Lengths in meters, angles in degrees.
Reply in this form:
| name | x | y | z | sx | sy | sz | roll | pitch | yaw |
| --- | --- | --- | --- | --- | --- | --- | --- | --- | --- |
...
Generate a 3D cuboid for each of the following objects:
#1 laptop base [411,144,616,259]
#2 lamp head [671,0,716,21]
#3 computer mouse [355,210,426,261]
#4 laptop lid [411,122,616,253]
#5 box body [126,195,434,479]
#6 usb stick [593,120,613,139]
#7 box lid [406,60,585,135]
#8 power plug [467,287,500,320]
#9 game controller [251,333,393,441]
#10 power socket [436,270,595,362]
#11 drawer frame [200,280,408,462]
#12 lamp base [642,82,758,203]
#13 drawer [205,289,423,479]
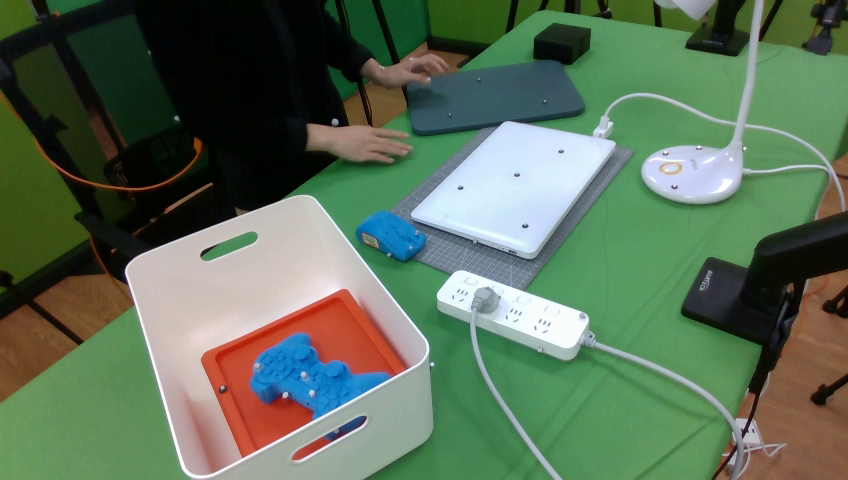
| name | x | y | z | sx | sy | sz | roll | pitch | yaw |
| --- | --- | --- | --- | --- | --- | --- | --- | --- | --- |
| laptop base | 0.168 | -0.101 | 1.073 | 0.234 | 0.023 | 0.355 | 17 | 46 | 30 |
| lamp head | 0.375 | -0.373 | 0.807 | 0.122 | 0.113 | 0.112 | -40 | 27 | 32 |
| computer mouse | -0.055 | -0.010 | 0.979 | 0.116 | 0.041 | 0.063 | 27 | 49 | 29 |
| laptop lid | 0.165 | -0.111 | 1.067 | 0.240 | 0.013 | 0.357 | 19 | 46 | 31 |
| box body | -0.175 | 0.131 | 0.737 | 0.255 | 0.161 | 0.360 | -25 | 43 | -19 |
| usb stick | 0.336 | -0.201 | 1.147 | 0.021 | 0.027 | 0.059 | 26 | 53 | 26 |
| box lid | 0.150 | -0.320 | 1.340 | 0.372 | 0.015 | 0.261 | -8 | 40 | 0 |
| power plug | 0.073 | 0.092 | 0.814 | 0.035 | 0.053 | 0.073 | 29 | 54 | 34 |
| game controller | -0.120 | 0.155 | 0.676 | 0.154 | 0.052 | 0.097 | 20 | 51 | 28 |
| power socket | 0.118 | 0.101 | 0.832 | 0.225 | 0.033 | 0.072 | 19 | 48 | 27 |
| drawer frame | -0.132 | 0.176 | 0.729 | 0.202 | 0.083 | 0.211 | -27 | 50 | -19 |
| lamp base | 0.464 | -0.174 | 0.992 | 0.179 | 0.181 | 0.159 | -5 | 41 | -1 |
| drawer | -0.134 | 0.189 | 0.743 | 0.195 | 0.073 | 0.210 | -25 | 54 | -21 |
